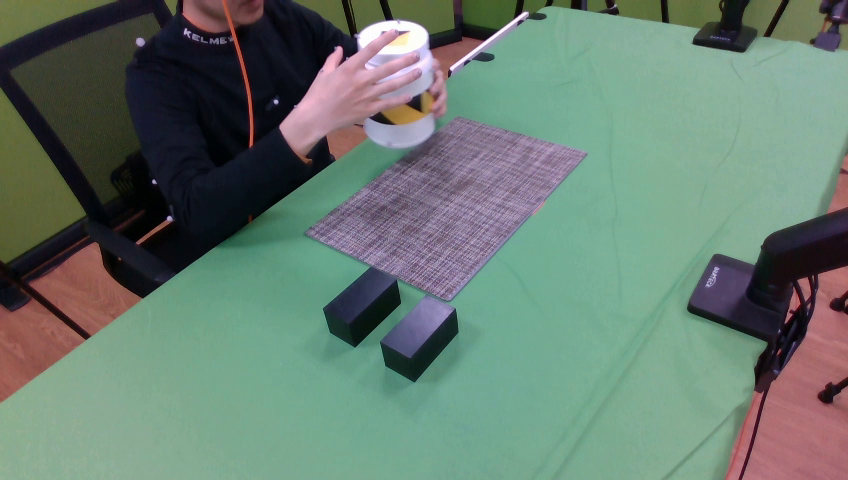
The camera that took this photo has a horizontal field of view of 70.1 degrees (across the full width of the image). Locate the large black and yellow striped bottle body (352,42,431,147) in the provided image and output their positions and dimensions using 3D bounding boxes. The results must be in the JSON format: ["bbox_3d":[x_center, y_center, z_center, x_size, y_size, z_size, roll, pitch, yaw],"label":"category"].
[{"bbox_3d":[-0.055,-0.272,1.064,0.131,0.185,0.130,-1,46,2],"label":"large black and yellow striped bottle body"}]

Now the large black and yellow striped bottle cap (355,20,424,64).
[{"bbox_3d":[-0.057,-0.330,1.004,0.115,0.019,0.114,-1,47,2],"label":"large black and yellow striped bottle cap"}]
